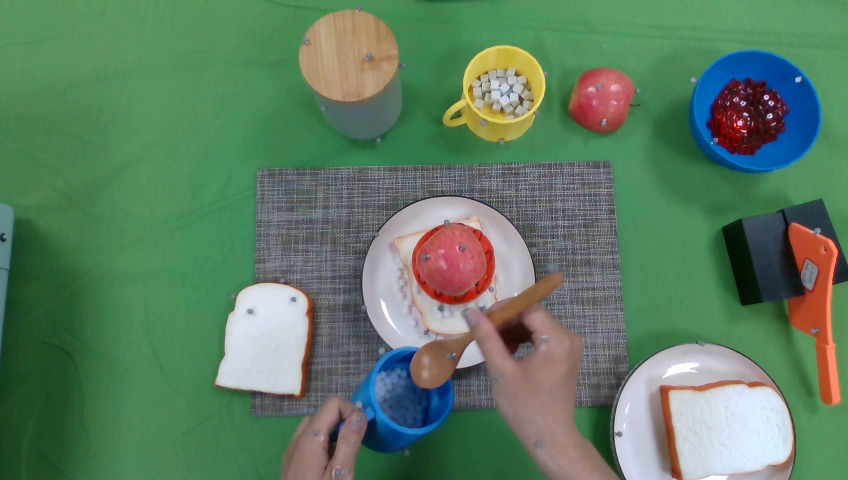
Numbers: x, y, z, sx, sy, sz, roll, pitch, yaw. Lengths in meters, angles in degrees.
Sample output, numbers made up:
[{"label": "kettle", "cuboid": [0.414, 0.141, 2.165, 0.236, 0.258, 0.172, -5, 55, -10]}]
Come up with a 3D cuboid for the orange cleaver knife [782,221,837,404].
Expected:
[{"label": "orange cleaver knife", "cuboid": [0.444, 0.083, 0.698, 0.012, 0.077, 0.212, -13, 101, -9]}]

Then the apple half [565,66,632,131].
[{"label": "apple half", "cuboid": [0.222, -0.184, 0.762, 0.074, 0.053, 0.080, 21, 81, 6]}]

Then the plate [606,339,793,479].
[{"label": "plate", "cuboid": [0.311, 0.218, 0.696, 0.209, 0.038, 0.208, 0, 80, 0]}]

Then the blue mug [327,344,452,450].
[{"label": "blue mug", "cuboid": [-0.042, 0.164, 0.595, 0.117, 0.106, 0.082, -21, 72, -28]}]

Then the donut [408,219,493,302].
[{"label": "donut", "cuboid": [0.031, 0.024, 0.700, 0.099, 0.048, 0.098, 0, 80, 1]}]

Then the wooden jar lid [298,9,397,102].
[{"label": "wooden jar lid", "cuboid": [-0.083, -0.200, 0.665, 0.108, 0.021, 0.108, 0, 78, 1]}]

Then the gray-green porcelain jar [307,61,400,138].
[{"label": "gray-green porcelain jar", "cuboid": [-0.082, -0.187, 0.726, 0.106, 0.127, 0.105, 0, 79, 0]}]

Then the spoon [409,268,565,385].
[{"label": "spoon", "cuboid": [0.048, 0.076, 0.516, 0.022, 0.194, 0.041, -4, 62, -41]}]

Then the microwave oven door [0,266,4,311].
[{"label": "microwave oven door", "cuboid": [-0.517, 0.183, 0.582, 0.039, 0.244, 0.354, -1, 79, 0]}]

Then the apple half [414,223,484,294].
[{"label": "apple half", "cuboid": [0.028, 0.019, 0.665, 0.081, 0.033, 0.081, -1, 81, 7]}]

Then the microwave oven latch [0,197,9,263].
[{"label": "microwave oven latch", "cuboid": [-0.518, -0.013, 0.720, 0.030, 0.029, 0.079, 3, 80, 0]}]

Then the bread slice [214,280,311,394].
[{"label": "bread slice", "cuboid": [-0.190, 0.113, 0.724, 0.105, 0.019, 0.131, 6, 81, 1]}]

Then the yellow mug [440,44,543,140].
[{"label": "yellow mug", "cuboid": [0.079, -0.176, 0.754, 0.131, 0.064, 0.099, -25, 80, -4]}]

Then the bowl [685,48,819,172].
[{"label": "bowl", "cuboid": [0.384, -0.147, 0.741, 0.151, 0.077, 0.151, 0, 80, 1]}]

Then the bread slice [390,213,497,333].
[{"label": "bread slice", "cuboid": [0.031, 0.043, 0.725, 0.107, 0.018, 0.134, -19, 82, -3]}]

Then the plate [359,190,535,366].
[{"label": "plate", "cuboid": [0.027, 0.046, 0.724, 0.208, 0.039, 0.207, 0, 80, 0]}]
